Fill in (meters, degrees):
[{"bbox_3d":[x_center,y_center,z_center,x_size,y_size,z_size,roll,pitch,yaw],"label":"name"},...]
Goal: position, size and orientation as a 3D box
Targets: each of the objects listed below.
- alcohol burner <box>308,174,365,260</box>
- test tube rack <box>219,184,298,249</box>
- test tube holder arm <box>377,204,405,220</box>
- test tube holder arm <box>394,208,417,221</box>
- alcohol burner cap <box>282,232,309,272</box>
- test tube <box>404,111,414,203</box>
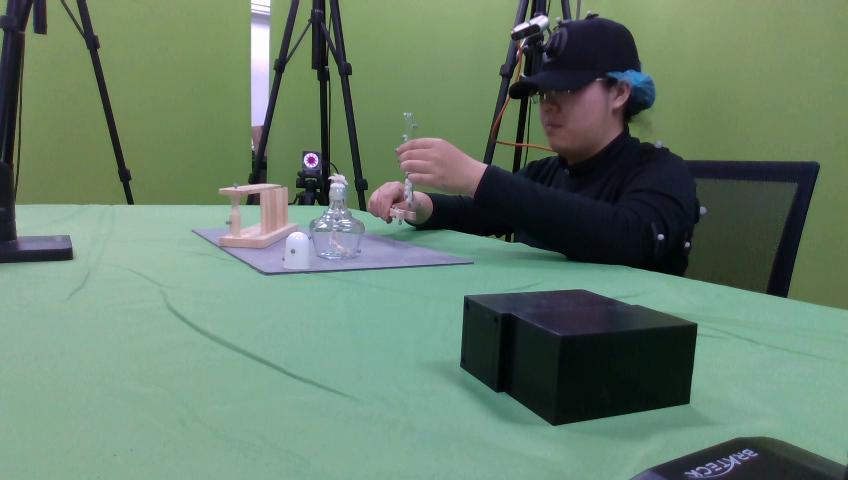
[{"bbox_3d":[-0.121,-0.033,0.841,0.078,0.119,0.078,3,5,0],"label":"alcohol burner"},{"bbox_3d":[-0.266,-0.046,1.001,0.067,0.085,0.242,3,7,0],"label":"test tube rack"},{"bbox_3d":[-0.060,-0.051,1.075,0.013,0.015,0.178,7,6,-19],"label":"test tube holder arm"},{"bbox_3d":[-0.038,-0.044,1.037,0.010,0.015,0.087,4,7,-33],"label":"test tube holder arm"},{"bbox_3d":[-0.157,0.014,0.740,0.034,0.048,0.034,2,6,0],"label":"alcohol burner cap"},{"bbox_3d":[-0.024,-0.133,0.983,0.017,0.150,0.017,0,18,0],"label":"test tube"}]
